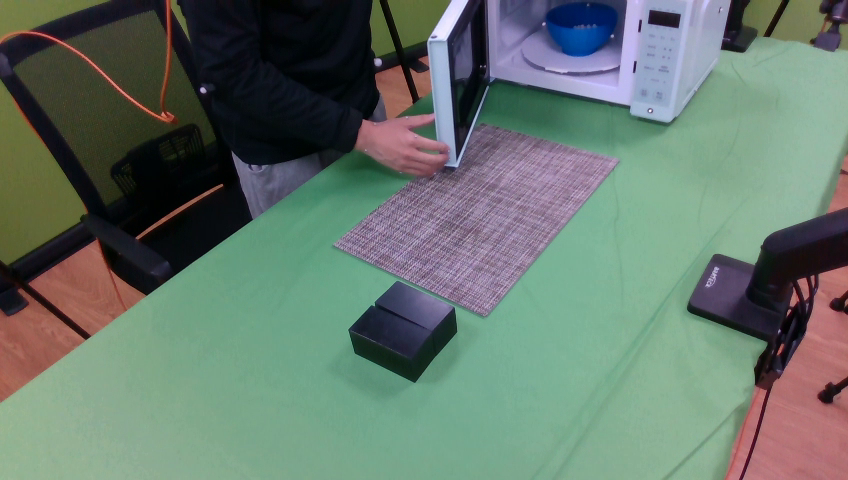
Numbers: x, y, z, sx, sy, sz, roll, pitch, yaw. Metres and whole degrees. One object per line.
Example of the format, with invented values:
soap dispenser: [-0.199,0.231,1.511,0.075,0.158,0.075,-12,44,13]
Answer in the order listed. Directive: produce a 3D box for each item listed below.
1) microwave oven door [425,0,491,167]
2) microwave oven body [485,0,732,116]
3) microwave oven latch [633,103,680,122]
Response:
microwave oven door: [0.075,-0.340,1.160,0.039,0.245,0.355,6,42,15]
microwave oven body: [0.377,-0.463,1.267,0.438,0.261,0.327,21,49,30]
microwave oven latch: [0.443,-0.249,1.157,0.078,0.029,0.030,21,49,30]
